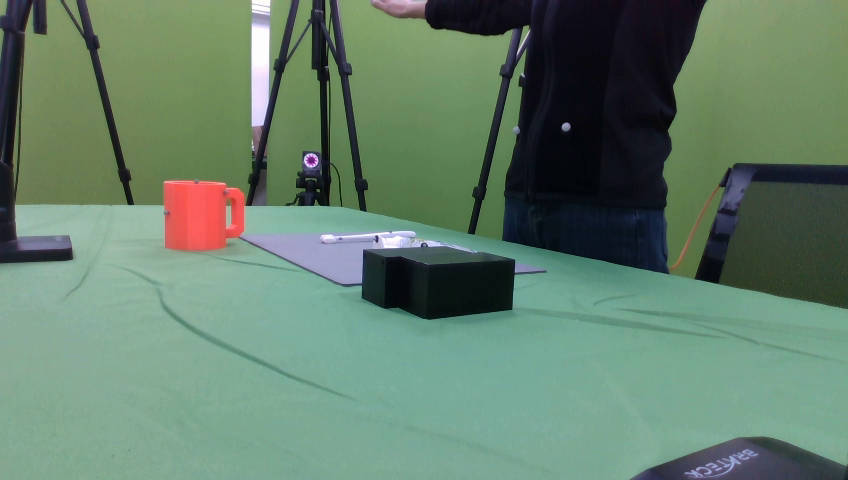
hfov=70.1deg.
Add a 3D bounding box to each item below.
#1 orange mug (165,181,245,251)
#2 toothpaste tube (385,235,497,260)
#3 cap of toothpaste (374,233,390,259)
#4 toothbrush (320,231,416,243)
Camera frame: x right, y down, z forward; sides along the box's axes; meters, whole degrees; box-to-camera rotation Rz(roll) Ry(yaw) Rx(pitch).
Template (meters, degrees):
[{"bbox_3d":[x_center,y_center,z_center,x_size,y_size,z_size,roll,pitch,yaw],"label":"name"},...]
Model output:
[{"bbox_3d":[-0.326,-0.040,0.911,0.083,0.101,0.127,8,14,37],"label":"orange mug"},{"bbox_3d":[0.019,0.014,0.852,0.166,0.034,0.055,4,13,-20],"label":"toothpaste tube"},{"bbox_3d":[-0.058,0.008,0.825,0.011,0.037,0.037,-4,9,-30],"label":"cap of toothpaste"},{"bbox_3d":[-0.089,-0.006,1.025,0.183,0.014,0.016,-3,12,-34],"label":"toothbrush"}]
